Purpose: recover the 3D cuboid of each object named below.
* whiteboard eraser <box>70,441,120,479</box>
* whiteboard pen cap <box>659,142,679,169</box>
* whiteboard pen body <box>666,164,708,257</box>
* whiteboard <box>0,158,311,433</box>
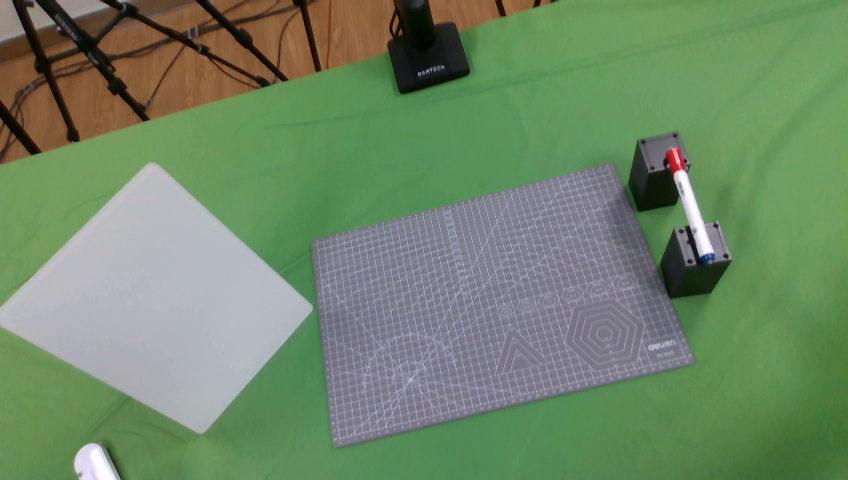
[{"bbox_3d":[-0.420,0.303,0.776,0.041,0.019,0.100,-39,64,-10],"label":"whiteboard eraser"},{"bbox_3d":[0.292,-0.099,0.721,0.017,0.017,0.032,-8,64,7],"label":"whiteboard pen cap"},{"bbox_3d":[0.298,-0.045,0.696,0.017,0.017,0.139,-10,62,6],"label":"whiteboard pen body"},{"bbox_3d":[-0.331,0.060,0.752,0.142,0.309,0.217,28,72,43],"label":"whiteboard"}]
